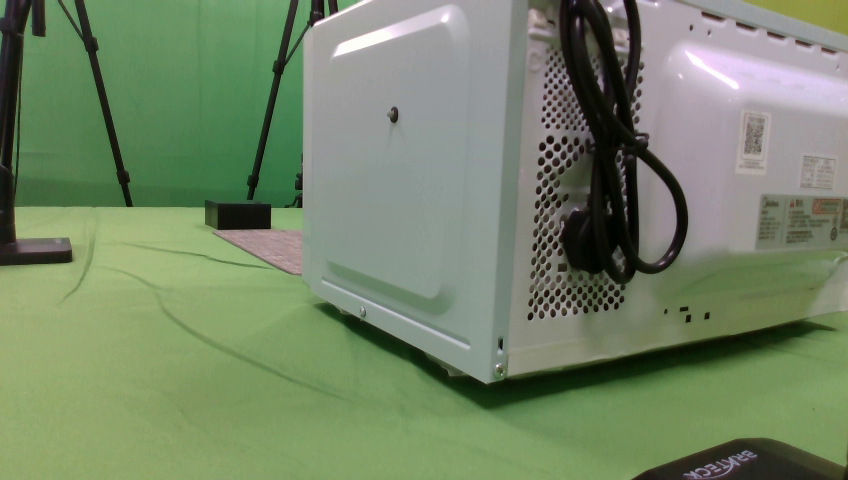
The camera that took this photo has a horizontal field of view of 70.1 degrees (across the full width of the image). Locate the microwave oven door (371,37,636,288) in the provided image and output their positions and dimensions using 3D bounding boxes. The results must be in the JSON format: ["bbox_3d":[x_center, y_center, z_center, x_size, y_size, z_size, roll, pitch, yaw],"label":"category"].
[{"bbox_3d":[0.109,-0.080,0.686,0.358,0.243,0.039,-2,9,-33],"label":"microwave oven door"}]

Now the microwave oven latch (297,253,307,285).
[{"bbox_3d":[-0.082,0.027,0.582,0.079,0.029,0.030,-1,7,-32],"label":"microwave oven latch"}]

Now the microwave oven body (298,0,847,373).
[{"bbox_3d":[0.151,-0.055,0.543,0.444,0.260,0.324,-1,7,-33],"label":"microwave oven body"}]
